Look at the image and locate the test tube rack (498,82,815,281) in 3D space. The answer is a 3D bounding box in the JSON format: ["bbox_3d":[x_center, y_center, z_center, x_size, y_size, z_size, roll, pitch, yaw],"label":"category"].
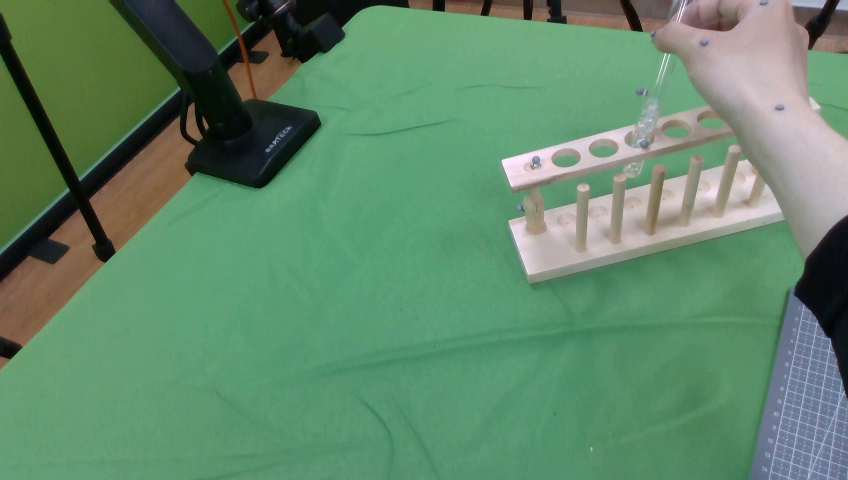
[{"bbox_3d":[0.189,-0.046,0.494,0.242,0.086,0.066,-14,48,1],"label":"test tube rack"}]

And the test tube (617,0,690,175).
[{"bbox_3d":[0.174,-0.121,0.458,0.017,0.151,0.017,9,24,-3],"label":"test tube"}]
